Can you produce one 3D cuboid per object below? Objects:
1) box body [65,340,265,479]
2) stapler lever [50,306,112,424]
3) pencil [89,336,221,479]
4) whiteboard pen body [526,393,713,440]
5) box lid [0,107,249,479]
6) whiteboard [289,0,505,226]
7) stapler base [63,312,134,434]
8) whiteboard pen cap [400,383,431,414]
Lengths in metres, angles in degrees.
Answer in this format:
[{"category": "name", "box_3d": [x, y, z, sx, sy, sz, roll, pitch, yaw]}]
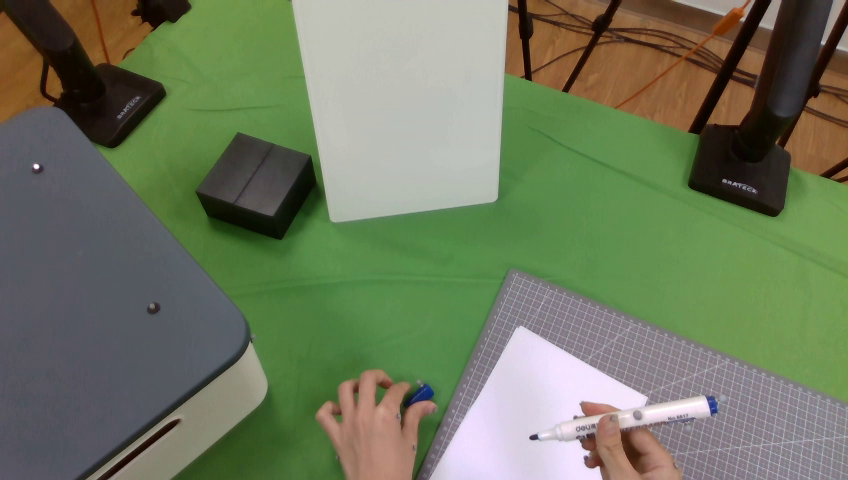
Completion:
[{"category": "box body", "box_3d": [-0.358, 0.082, 0.585, 0.254, 0.161, 0.361, -40, 68, -23]}, {"category": "stapler lever", "box_3d": [-0.346, 0.122, 0.605, 0.027, 0.040, 0.117, -5, 59, 17]}, {"category": "pencil", "box_3d": [-0.272, 0.171, 0.615, 0.012, 0.012, 0.193, 24, 51, 13]}, {"category": "whiteboard pen body", "box_3d": [0.146, 0.137, 0.461, 0.140, 0.017, 0.017, -15, 57, 14]}, {"category": "box lid", "box_3d": [-0.358, 0.043, 0.523, 0.263, 0.015, 0.369, -39, 68, -23]}, {"category": "whiteboard", "box_3d": [-0.030, -0.193, 0.722, 0.217, 0.308, 0.142, -7, 40, -6]}, {"category": "stapler base", "box_3d": [-0.340, 0.132, 0.626, 0.041, 0.025, 0.129, -5, 61, 17]}, {"category": "whiteboard pen cap", "box_3d": [-0.008, 0.165, 0.635, 0.033, 0.018, 0.018, -38, 66, -21]}]
